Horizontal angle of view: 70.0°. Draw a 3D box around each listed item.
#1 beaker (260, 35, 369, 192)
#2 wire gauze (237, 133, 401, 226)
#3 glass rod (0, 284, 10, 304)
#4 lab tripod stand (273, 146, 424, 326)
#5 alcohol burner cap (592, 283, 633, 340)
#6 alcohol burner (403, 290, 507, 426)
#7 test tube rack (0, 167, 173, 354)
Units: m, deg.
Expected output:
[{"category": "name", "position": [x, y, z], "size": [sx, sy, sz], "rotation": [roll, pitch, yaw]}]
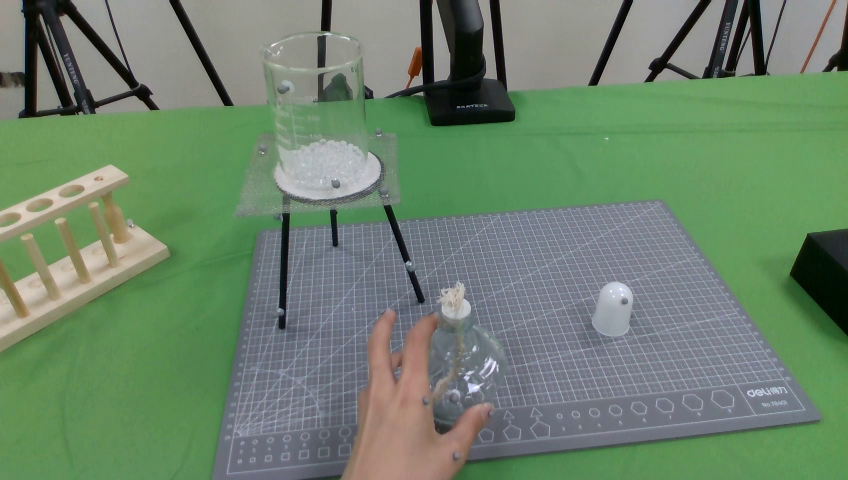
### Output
[{"category": "beaker", "position": [-0.082, -0.095, 0.462], "size": [0.083, 0.101, 0.074], "rotation": [21, 42, 23]}, {"category": "wire gauze", "position": [-0.081, -0.055, 0.490], "size": [0.121, 0.011, 0.124], "rotation": [-3, 40, -3]}, {"category": "glass rod", "position": [-0.383, -0.028, 0.504], "size": [0.008, 0.201, 0.008], "rotation": [0, 30, 0]}, {"category": "lab tripod stand", "position": [-0.072, -0.005, 0.533], "size": [0.148, 0.132, 0.147], "rotation": [1, 37, 0]}, {"category": "alcohol burner cap", "position": [0.164, 0.059, 0.521], "size": [0.034, 0.048, 0.033], "rotation": [0, 39, 1]}, {"category": "alcohol burner", "position": [0.023, 0.080, 0.439], "size": [0.078, 0.120, 0.077], "rotation": [0, 40, 0]}, {"category": "test tube rack", "position": [-0.359, 0.030, 0.537], "size": [0.066, 0.086, 0.242], "rotation": [26, 45, 31]}]
